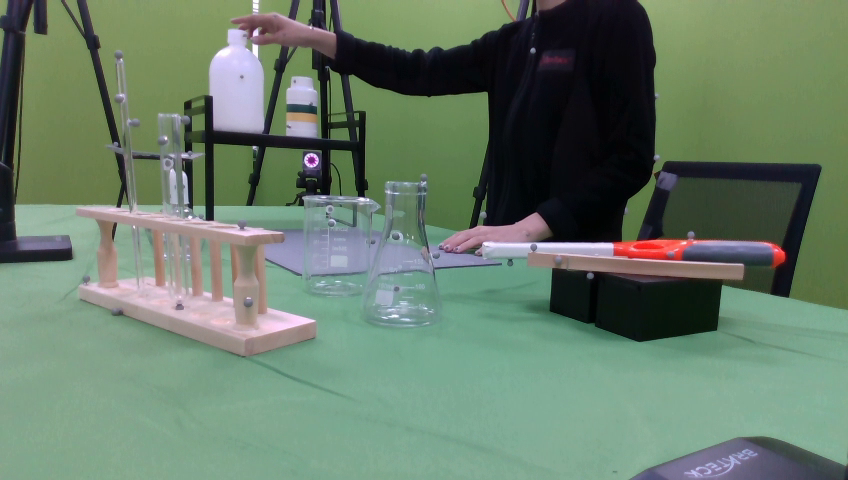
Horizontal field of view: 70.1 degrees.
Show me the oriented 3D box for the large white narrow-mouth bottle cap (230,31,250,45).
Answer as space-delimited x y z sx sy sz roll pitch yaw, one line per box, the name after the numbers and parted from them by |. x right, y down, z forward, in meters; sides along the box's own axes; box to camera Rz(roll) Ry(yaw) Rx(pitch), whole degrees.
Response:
-0.355 -0.388 1.167 0.038 0.024 0.037 4 6 0 | large white narrow-mouth bottle cap

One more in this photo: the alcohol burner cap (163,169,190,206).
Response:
-0.320 -0.068 0.782 0.034 0.048 0.034 1 7 0 | alcohol burner cap

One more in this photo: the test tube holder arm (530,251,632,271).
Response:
0.139 0.019 0.538 0.087 0.015 0.010 3 7 13 | test tube holder arm

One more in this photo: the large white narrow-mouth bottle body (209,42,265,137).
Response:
-0.362 -0.303 1.175 0.102 0.194 0.102 4 6 0 | large white narrow-mouth bottle body

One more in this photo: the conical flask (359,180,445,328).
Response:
-0.017 0.010 0.522 0.075 0.122 0.075 2 7 0 | conical flask

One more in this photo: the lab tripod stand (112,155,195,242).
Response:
-0.405 -0.064 0.931 0.148 0.131 0.148 1 6 0 | lab tripod stand

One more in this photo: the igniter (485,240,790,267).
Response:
0.197 0.012 0.585 0.276 0.025 0.057 1 5 12 | igniter

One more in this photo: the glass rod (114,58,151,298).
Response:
-0.236 -0.044 0.492 0.008 0.199 0.008 0 15 0 | glass rod

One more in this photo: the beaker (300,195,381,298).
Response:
-0.087 0.006 0.626 0.084 0.100 0.074 1 8 -17 | beaker

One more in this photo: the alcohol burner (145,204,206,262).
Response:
-0.321 -0.032 0.788 0.078 0.119 0.078 1 7 0 | alcohol burner

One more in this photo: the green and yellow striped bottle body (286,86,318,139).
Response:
-0.251 -0.270 1.245 0.063 0.119 0.063 2 7 0 | green and yellow striped bottle body

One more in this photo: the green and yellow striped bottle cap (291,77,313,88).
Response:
-0.250 -0.321 1.238 0.045 0.020 0.045 3 6 0 | green and yellow striped bottle cap

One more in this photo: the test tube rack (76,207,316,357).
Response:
-0.196 0.023 0.500 0.241 0.085 0.067 8 9 36 | test tube rack

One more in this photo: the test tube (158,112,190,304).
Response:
-0.194 -0.023 0.469 0.017 0.150 0.017 2 12 0 | test tube

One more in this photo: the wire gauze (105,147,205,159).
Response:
-0.407 -0.131 0.929 0.125 0.011 0.121 2 6 -11 | wire gauze

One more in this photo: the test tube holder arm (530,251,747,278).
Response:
0.182 0.022 0.523 0.178 0.015 0.013 3 7 12 | test tube holder arm
